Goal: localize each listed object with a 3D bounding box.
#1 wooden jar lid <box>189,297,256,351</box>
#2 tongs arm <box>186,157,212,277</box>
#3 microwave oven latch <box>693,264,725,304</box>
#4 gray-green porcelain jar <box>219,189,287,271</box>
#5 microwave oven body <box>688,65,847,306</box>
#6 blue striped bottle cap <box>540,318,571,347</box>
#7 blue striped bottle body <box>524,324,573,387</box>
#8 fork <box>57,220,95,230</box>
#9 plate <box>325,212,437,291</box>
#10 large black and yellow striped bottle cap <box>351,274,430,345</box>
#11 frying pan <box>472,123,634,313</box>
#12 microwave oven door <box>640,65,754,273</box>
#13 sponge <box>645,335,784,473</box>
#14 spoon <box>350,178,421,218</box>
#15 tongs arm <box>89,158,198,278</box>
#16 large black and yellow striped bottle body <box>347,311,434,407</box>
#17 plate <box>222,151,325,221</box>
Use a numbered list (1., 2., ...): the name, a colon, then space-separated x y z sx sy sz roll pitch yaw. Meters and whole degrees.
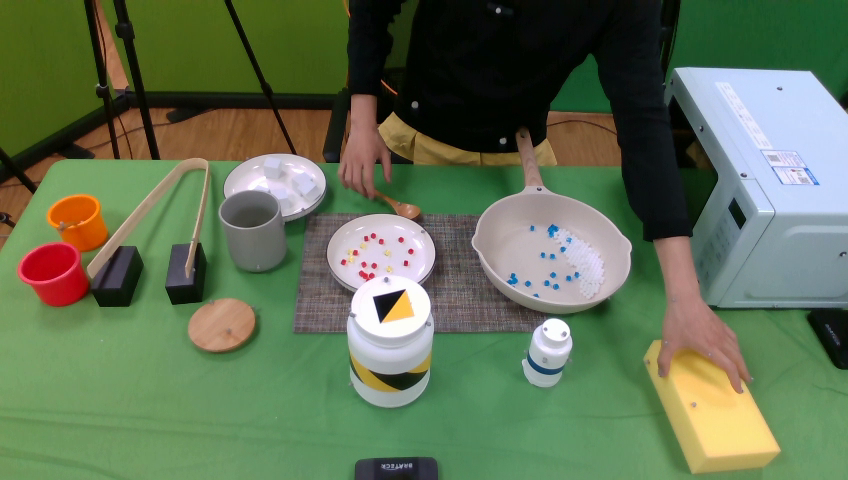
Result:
1. wooden jar lid: -0.342 0.145 1.033 0.108 0.021 0.107 2 45 -2
2. tongs arm: -0.445 -0.058 1.168 0.051 0.026 0.382 -5 37 -6
3. microwave oven latch: 0.522 0.081 1.116 0.030 0.029 0.078 2 46 -1
4. gray-green porcelain jar: -0.309 -0.014 1.113 0.106 0.127 0.105 2 46 -2
5. microwave oven body: 0.669 -0.111 1.176 0.326 0.261 0.439 0 46 -3
6. blue striped bottle cap: 0.203 0.142 0.933 0.044 0.021 0.044 3 49 -3
7. blue striped bottle body: 0.200 0.178 0.970 0.063 0.121 0.062 2 46 -1
8. fork: -0.624 -0.027 1.087 0.028 0.207 0.018 -3 92 -17
9. plate: -0.080 0.030 1.143 0.209 0.038 0.208 3 46 -3
10. large black and yellow striped bottle cap: -0.048 0.097 0.867 0.115 0.019 0.114 3 48 -3
11. frying pan: 0.235 -0.060 1.207 0.307 0.103 0.484 2 54 -6
12. microwave oven door: 0.522 -0.147 1.193 0.039 0.245 0.353 0 47 -3
13. sponge: 0.449 0.253 0.957 0.118 0.061 0.205 -3 46 -8
14. spoon: -0.083 -0.093 1.272 0.193 0.022 0.041 31 67 26
15. tongs arm: -0.529 -0.057 1.164 0.028 0.028 0.385 1 36 8
16. large black and yellow striped bottle body: -0.052 0.157 0.929 0.131 0.185 0.130 2 47 -2
17. plate: -0.310 -0.106 1.263 0.208 0.039 0.206 2 47 -2
